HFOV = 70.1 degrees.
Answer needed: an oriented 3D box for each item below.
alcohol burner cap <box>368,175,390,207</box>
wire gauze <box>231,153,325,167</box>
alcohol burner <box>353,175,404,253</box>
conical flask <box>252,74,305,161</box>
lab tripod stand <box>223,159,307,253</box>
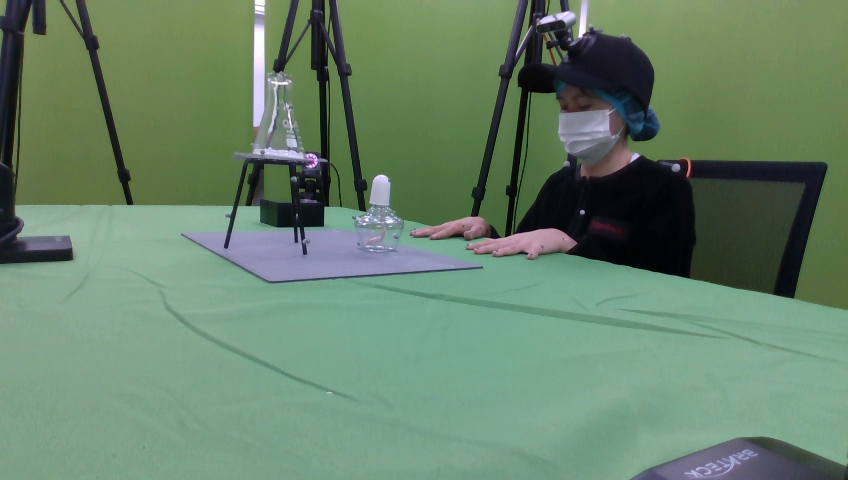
[{"bbox_3d":[-0.067,-0.075,0.923,0.034,0.048,0.034,8,11,-1],"label":"alcohol burner cap"},{"bbox_3d":[-0.215,-0.117,0.882,0.125,0.011,0.121,3,7,-19],"label":"wire gauze"},{"bbox_3d":[-0.069,-0.040,0.927,0.078,0.119,0.078,1,9,0],"label":"alcohol burner"},{"bbox_3d":[-0.211,-0.176,0.880,0.075,0.122,0.075,3,6,0],"label":"conical flask"},{"bbox_3d":[-0.220,-0.053,0.896,0.148,0.131,0.148,1,6,0],"label":"lab tripod stand"}]
